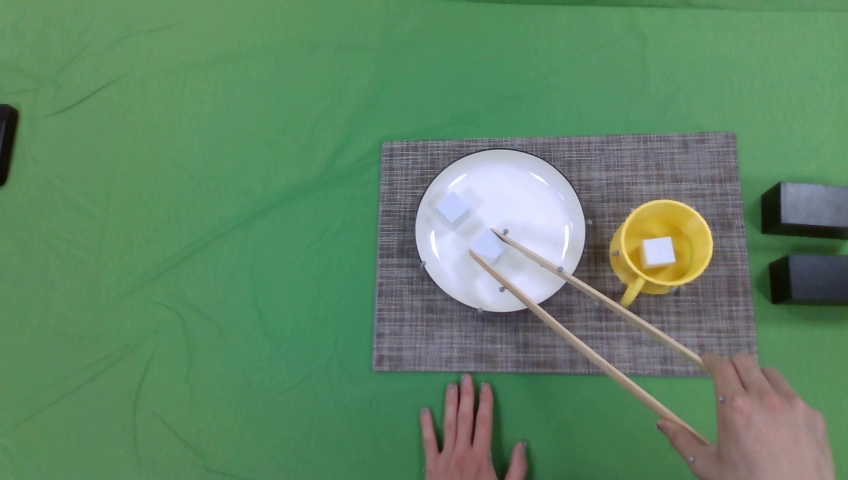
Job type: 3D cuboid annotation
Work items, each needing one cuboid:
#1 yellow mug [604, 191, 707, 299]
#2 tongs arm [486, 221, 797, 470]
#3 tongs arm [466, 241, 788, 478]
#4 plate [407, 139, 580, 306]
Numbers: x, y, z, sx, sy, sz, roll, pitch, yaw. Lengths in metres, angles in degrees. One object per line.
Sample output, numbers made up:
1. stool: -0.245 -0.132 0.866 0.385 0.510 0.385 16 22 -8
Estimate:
1. yellow mug: 0.260 0.012 0.706 0.099 0.064 0.130 31 82 11
2. tongs arm: 0.179 0.078 0.595 0.050 0.027 0.380 -47 46 -10
3. tongs arm: 0.162 0.095 0.593 0.028 0.028 0.383 -41 46 -9
4. plate: 0.084 -0.020 0.745 0.207 0.039 0.206 -1 78 5
